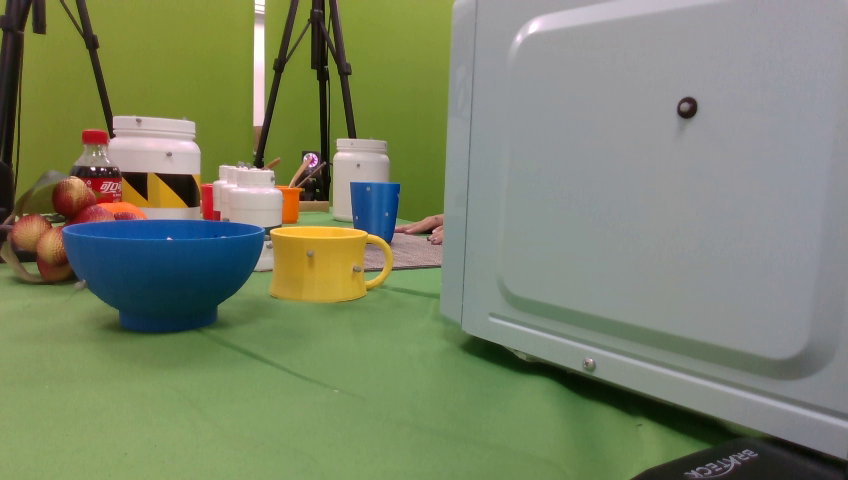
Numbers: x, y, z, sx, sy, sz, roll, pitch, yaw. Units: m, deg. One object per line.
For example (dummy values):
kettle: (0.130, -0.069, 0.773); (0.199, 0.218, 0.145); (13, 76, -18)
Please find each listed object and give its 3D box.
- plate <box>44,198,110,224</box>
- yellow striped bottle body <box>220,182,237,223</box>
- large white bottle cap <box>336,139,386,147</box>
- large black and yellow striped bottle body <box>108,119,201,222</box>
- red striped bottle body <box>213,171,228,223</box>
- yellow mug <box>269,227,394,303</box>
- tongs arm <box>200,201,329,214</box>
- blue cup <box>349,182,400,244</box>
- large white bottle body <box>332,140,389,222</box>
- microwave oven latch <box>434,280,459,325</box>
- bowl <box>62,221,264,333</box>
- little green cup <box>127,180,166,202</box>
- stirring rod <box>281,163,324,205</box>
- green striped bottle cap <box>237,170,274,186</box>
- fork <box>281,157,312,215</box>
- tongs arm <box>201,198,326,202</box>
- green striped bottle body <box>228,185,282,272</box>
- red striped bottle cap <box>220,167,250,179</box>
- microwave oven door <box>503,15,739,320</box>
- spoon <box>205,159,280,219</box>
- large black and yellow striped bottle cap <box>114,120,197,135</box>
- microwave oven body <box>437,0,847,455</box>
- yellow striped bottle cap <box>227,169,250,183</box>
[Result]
plate: (-0.617, -0.056, 1.179); (0.209, 0.038, 0.209); (3, 7, 0)
yellow striped bottle body: (-0.246, -0.036, 0.825); (0.063, 0.120, 0.063); (3, 8, 0)
large white bottle cap: (-0.143, -0.219, 1.375); (0.115, 0.018, 0.115); (2, 8, 0)
large black and yellow striped bottle body: (-0.412, -0.088, 0.930); (0.131, 0.184, 0.130); (3, 7, 0)
red striped bottle body: (-0.284, -0.048, 0.909); (0.063, 0.119, 0.063); (3, 12, 0)
yellow mug: (-0.094, 0.023, 0.629); (0.131, 0.064, 0.099); (0, 7, -22)
tongs arm: (-0.378, -0.079, 1.440); (0.387, 0.026, 0.050); (-4, 7, -44)
blue cup: (-0.083, -0.046, 1.009); (0.093, 0.100, 0.092); (1, 6, 0)
large white bottle body: (-0.145, -0.136, 1.387); (0.131, 0.184, 0.130); (2, 7, 0)
microwave oven latch: (0.044, 0.045, 0.470); (0.079, 0.029, 0.030); (-2, 8, -38)
bowl: (-0.209, 0.029, 0.496); (0.151, 0.077, 0.151); (2, 6, 0)
little green cup: (-0.486, -0.086, 1.061); (0.061, 0.038, 0.061); (1, 7, 0)
stirring rod: (-0.278, -0.105, 1.294); (0.176, 0.006, 0.014); (-46, 26, -18)
green striped bottle cap: (-0.205, -0.075, 0.737); (0.044, 0.020, 0.044); (1, 6, 0)
fork: (-0.289, -0.116, 1.321); (0.028, 0.019, 0.207); (6, 51, 19)
tongs arm: (-0.433, -0.090, 1.507); (0.390, 0.028, 0.028); (-1, 2, -29)
green striped bottle body: (-0.208, -0.023, 0.745); (0.063, 0.119, 0.063); (2, 7, 0)
red striped bottle cap: (-0.281, -0.100, 0.901); (0.044, 0.017, 0.044); (0, 5, 0)
microwave oven door: (0.218, -0.065, 0.600); (0.358, 0.243, 0.039); (-4, 10, -41)
spoon: (-0.365, -0.103, 1.214); (0.193, 0.021, 0.041); (-42, 4, 6)
large black and yellow striped bottle cap: (-0.407, -0.171, 0.920); (0.115, 0.019, 0.115); (2, 9, 0)
microwave oven body: (0.279, -0.040, 0.465); (0.444, 0.260, 0.324); (-3, 9, -41)
yellow striped bottle cap: (-0.243, -0.086, 0.818); (0.044, 0.018, 0.044); (3, 6, 0)
